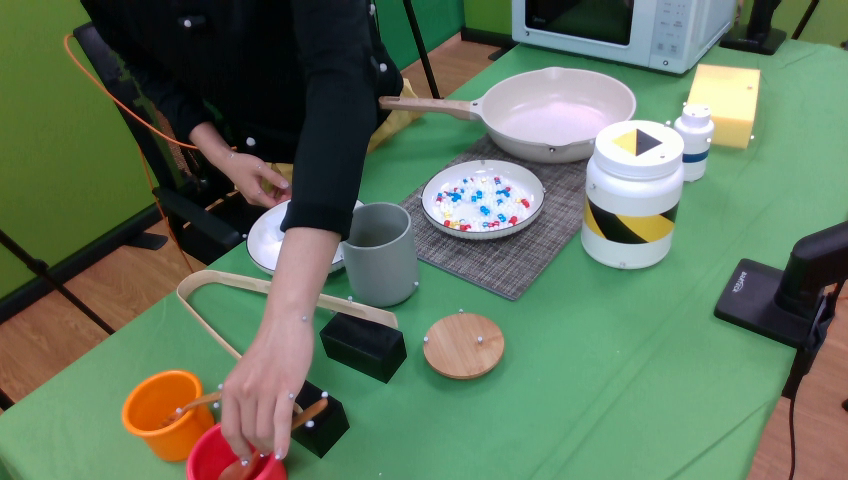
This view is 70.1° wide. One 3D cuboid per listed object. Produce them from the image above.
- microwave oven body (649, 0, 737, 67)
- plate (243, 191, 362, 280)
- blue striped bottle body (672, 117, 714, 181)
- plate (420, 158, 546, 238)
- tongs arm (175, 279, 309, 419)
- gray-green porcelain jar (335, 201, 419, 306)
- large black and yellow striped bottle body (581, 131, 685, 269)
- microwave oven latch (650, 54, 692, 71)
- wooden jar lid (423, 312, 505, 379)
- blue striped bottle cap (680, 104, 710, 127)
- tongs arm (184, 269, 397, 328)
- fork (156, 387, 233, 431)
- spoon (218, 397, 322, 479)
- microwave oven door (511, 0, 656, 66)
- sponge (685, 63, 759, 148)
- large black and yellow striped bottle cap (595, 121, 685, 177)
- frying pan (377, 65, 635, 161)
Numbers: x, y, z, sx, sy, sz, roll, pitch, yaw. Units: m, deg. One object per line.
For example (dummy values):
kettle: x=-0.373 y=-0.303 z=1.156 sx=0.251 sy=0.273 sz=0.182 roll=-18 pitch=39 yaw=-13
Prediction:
microwave oven body: x=0.475 y=-0.602 z=1.411 sx=0.438 sy=0.261 sz=0.327 roll=23 pitch=50 yaw=32
plate: x=-0.188 y=-0.005 z=0.992 sx=0.207 sy=0.039 sz=0.206 roll=-4 pitch=40 yaw=4
blue striped bottle body: x=0.450 y=-0.165 z=1.022 sx=0.063 sy=0.121 sz=0.063 roll=-5 pitch=41 yaw=4
plate: x=0.099 y=-0.067 z=1.017 sx=0.209 sy=0.038 sz=0.208 roll=-4 pitch=40 yaw=4
tongs arm: x=-0.255 y=0.133 z=0.800 sx=0.028 sy=0.028 sz=0.384 roll=-41 pitch=40 yaw=-23
gray-green porcelain jar: x=-0.064 y=0.024 z=0.872 sx=0.106 sy=0.127 sz=0.105 roll=-4 pitch=41 yaw=4
large black and yellow striped bottle body: x=0.301 y=-0.063 z=0.878 sx=0.131 sy=0.185 sz=0.130 roll=-4 pitch=41 yaw=4
microwave oven latch: x=0.531 y=-0.386 z=1.301 sx=0.078 sy=0.029 sz=0.030 roll=25 pitch=51 yaw=33
wooden jar lid: x=0.053 y=0.142 z=0.800 sx=0.108 sy=0.021 sz=0.108 roll=-4 pitch=40 yaw=4
blue striped bottle cap: x=0.443 y=-0.205 z=0.989 sx=0.044 sy=0.021 sz=0.044 roll=-1 pitch=41 yaw=2
tongs arm: x=-0.202 y=0.084 z=0.847 sx=0.382 sy=0.027 sz=0.051 roll=11 pitch=45 yaw=34
fork: x=-0.263 y=0.192 z=0.688 sx=0.018 sy=0.206 sz=0.028 roll=51 pitch=44 yaw=-5
spoon: x=-0.167 y=0.216 z=0.643 sx=0.022 sy=0.193 sz=0.041 roll=40 pitch=29 yaw=-7
microwave oven door: x=0.350 y=-0.539 z=1.348 sx=0.353 sy=0.245 sz=0.039 roll=24 pitch=50 yaw=31
sponge: x=0.569 y=-0.263 z=1.164 sx=0.117 sy=0.061 sz=0.207 roll=12 pitch=45 yaw=22
large black and yellow striped bottle cap: x=0.292 y=-0.126 z=0.821 sx=0.115 sy=0.019 sz=0.114 roll=-5 pitch=40 yaw=4
frying pan: x=0.150 y=-0.255 z=1.177 sx=0.488 sy=0.103 sz=0.306 roll=7 pitch=41 yaw=3
